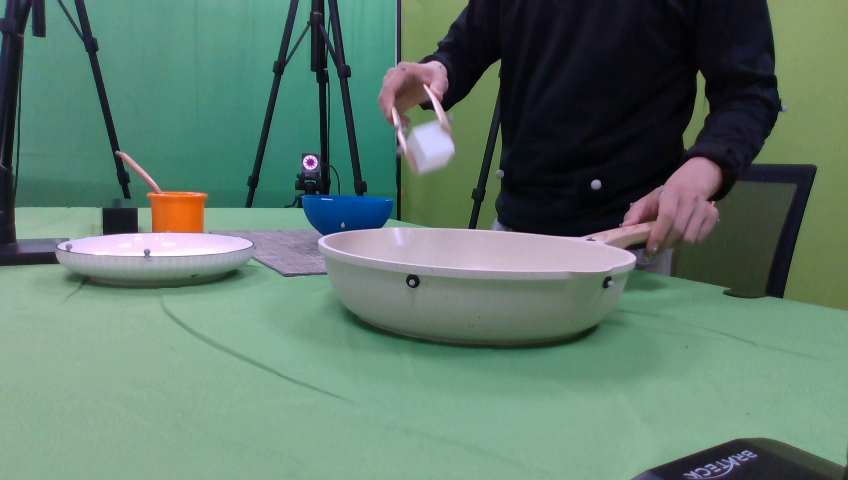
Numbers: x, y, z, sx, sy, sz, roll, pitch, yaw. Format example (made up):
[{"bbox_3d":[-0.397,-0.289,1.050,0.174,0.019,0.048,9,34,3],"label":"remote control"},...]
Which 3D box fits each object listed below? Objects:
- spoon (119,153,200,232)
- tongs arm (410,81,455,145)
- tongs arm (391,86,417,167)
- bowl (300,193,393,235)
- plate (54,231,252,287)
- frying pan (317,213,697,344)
[{"bbox_3d":[-0.439,-0.077,1.001,0.021,0.193,0.042,-43,-6,22],"label":"spoon"},{"bbox_3d":[0.008,-0.162,0.737,0.028,0.028,0.386,-33,19,8],"label":"tongs arm"},{"bbox_3d":[-0.015,-0.150,0.740,0.051,0.026,0.384,-31,19,4],"label":"tongs arm"},{"bbox_3d":[-0.128,-0.034,0.995,0.151,0.077,0.151,2,7,0],"label":"bowl"},{"bbox_3d":[-0.309,0.020,0.705,0.208,0.039,0.207,3,7,0],"label":"plate"},{"bbox_3d":[0.133,0.014,0.629,0.490,0.102,0.305,-12,14,-31],"label":"frying pan"}]
